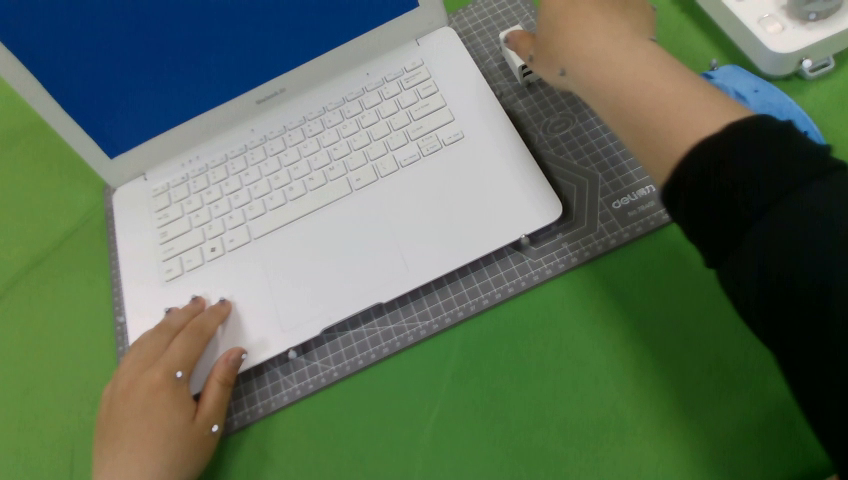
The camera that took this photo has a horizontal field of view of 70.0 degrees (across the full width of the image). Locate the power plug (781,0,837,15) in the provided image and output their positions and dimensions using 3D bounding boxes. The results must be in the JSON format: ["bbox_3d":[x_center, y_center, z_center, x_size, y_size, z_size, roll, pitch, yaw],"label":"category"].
[{"bbox_3d":[0.299,-0.185,0.438,0.072,0.053,0.035,-16,62,9],"label":"power plug"}]

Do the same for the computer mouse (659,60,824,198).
[{"bbox_3d":[0.222,-0.085,0.430,0.063,0.041,0.116,-26,54,4],"label":"computer mouse"}]

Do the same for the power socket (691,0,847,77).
[{"bbox_3d":[0.254,-0.221,0.496,0.072,0.033,0.224,-24,58,5],"label":"power socket"}]

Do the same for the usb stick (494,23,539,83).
[{"bbox_3d":[0.077,-0.166,0.523,0.021,0.027,0.058,-25,57,6],"label":"usb stick"}]

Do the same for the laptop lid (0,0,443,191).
[{"bbox_3d":[-0.177,-0.194,0.487,0.357,0.244,0.013,-27,45,3],"label":"laptop lid"}]

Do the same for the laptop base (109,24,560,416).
[{"bbox_3d":[-0.095,-0.030,0.509,0.354,0.023,0.233,-26,61,2],"label":"laptop base"}]
